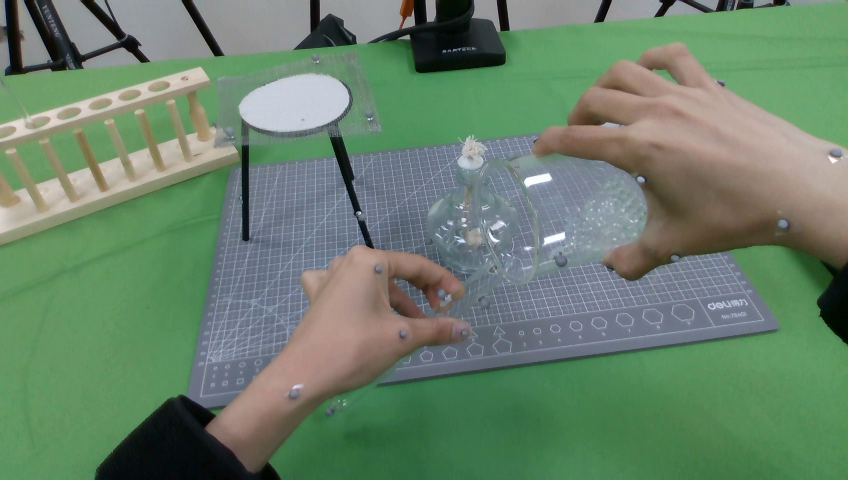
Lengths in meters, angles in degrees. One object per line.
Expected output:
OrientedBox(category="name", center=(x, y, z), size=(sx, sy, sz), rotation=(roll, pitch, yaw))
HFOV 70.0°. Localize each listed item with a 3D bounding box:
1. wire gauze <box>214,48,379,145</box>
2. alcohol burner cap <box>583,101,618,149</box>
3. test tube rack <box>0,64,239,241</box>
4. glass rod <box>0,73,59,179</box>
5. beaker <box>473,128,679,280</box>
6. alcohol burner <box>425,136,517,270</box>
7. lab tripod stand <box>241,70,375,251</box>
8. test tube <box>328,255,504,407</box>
OrientedBox(category="wire gauze", center=(-0.106, -0.115, 0.484), size=(0.125, 0.011, 0.120), rotation=(-11, 44, -7))
OrientedBox(category="alcohol burner cap", center=(0.187, -0.124, 0.637), size=(0.034, 0.048, 0.033), rotation=(-2, 44, 2))
OrientedBox(category="test tube rack", center=(-0.323, -0.093, 0.611), size=(0.243, 0.086, 0.066), rotation=(-24, 47, -20))
OrientedBox(category="glass rod", center=(-0.375, -0.127, 0.553), size=(0.008, 0.201, 0.008), rotation=(-1, 48, 2))
OrientedBox(category="beaker", center=(0.089, -0.022, 0.360), size=(0.100, 0.084, 0.073), rotation=(-14, 50, -17))
OrientedBox(category="alcohol burner", center=(0.039, -0.033, 0.500), size=(0.078, 0.120, 0.077), rotation=(-2, 42, 2))
OrientedBox(category="lab tripod stand", center=(-0.102, -0.067, 0.531), size=(0.148, 0.133, 0.147), rotation=(-2, 46, 3))
OrientedBox(category="test tube", center=(-0.008, 0.062, 0.392), size=(0.150, 0.017, 0.017), rotation=(-41, 44, 15))
